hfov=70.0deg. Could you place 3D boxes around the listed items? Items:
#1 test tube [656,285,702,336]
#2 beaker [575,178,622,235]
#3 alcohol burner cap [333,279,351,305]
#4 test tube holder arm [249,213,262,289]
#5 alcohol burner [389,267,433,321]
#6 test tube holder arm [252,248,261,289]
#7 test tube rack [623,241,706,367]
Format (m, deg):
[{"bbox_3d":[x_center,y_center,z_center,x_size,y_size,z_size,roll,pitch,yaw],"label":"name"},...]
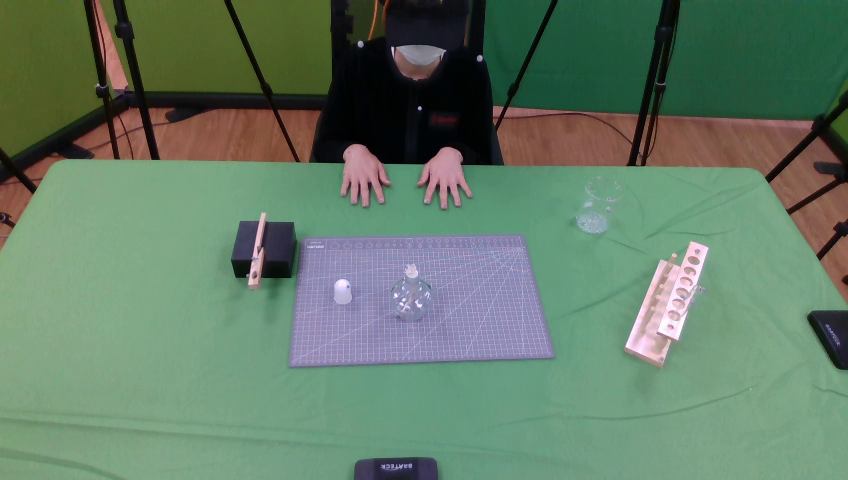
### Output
[{"bbox_3d":[0.418,0.121,1.000,0.017,0.151,0.017,4,51,-4],"label":"test tube"},{"bbox_3d":[0.356,-0.068,1.240,0.084,0.101,0.073,-18,50,-21],"label":"beaker"},{"bbox_3d":[-0.148,0.090,1.083,0.034,0.048,0.033,2,46,-2],"label":"alcohol burner cap"},{"bbox_3d":[-0.305,0.016,1.096,0.013,0.015,0.177,3,45,-14],"label":"test tube holder arm"},{"bbox_3d":[-0.022,0.086,1.046,0.078,0.119,0.077,2,48,-2],"label":"alcohol burner"},{"bbox_3d":[-0.294,0.049,1.066,0.010,0.015,0.087,4,45,-14],"label":"test tube holder arm"},{"bbox_3d":[0.435,0.104,1.089,0.066,0.085,0.242,24,49,19],"label":"test tube rack"}]
